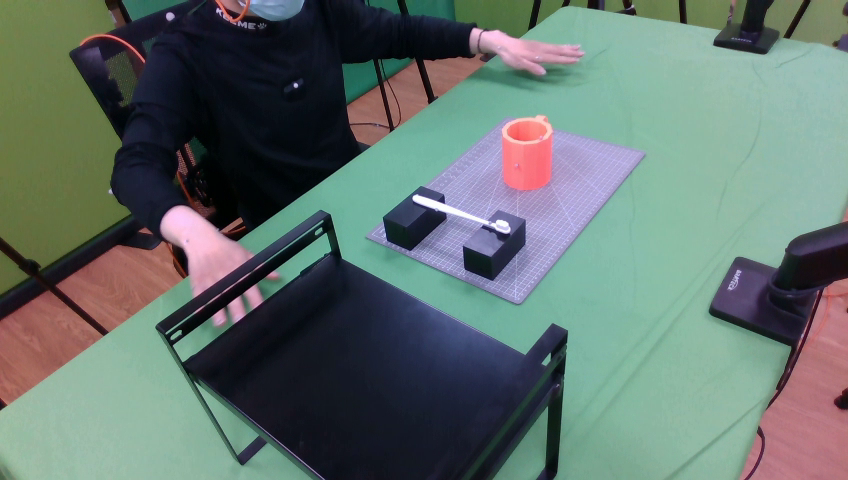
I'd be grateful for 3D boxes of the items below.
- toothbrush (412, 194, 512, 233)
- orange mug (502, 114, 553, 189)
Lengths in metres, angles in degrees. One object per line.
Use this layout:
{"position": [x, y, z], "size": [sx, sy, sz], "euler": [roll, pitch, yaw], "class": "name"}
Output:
{"position": [0.055, -0.044, 0.936], "size": [0.180, 0.017, 0.014], "euler": [20, 63, 30], "class": "toothbrush"}
{"position": [0.190, -0.164, 1.071], "size": [0.083, 0.101, 0.126], "euler": [16, 50, 25], "class": "orange mug"}
